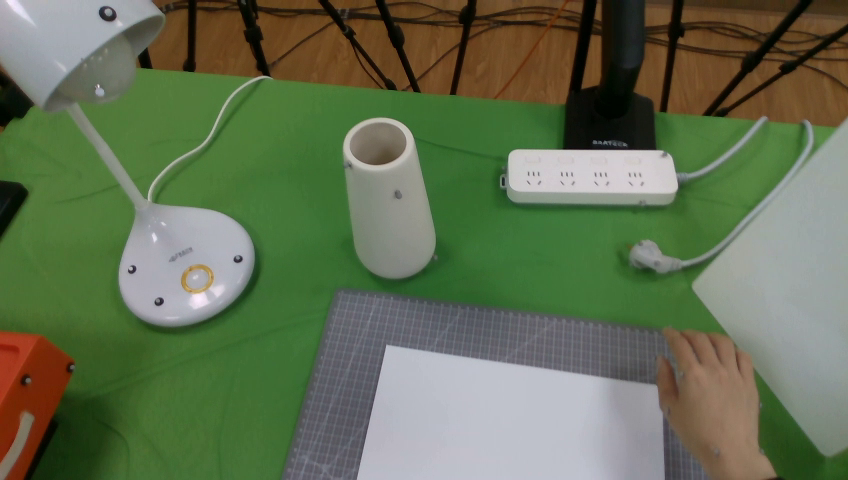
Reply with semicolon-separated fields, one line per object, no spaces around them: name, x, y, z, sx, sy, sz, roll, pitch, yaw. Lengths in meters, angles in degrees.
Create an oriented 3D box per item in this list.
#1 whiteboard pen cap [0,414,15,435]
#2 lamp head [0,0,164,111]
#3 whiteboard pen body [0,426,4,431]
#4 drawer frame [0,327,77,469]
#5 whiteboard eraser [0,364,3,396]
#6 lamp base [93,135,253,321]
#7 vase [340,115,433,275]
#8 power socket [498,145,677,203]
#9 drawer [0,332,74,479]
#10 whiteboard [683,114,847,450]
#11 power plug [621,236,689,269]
whiteboard pen cap;-0.416;0.182;0.584;0.033;0.018;0.018;-20;58;-14
lamp head;-0.268;-0.169;0.424;0.123;0.112;0.112;47;65;-14
whiteboard pen body;-0.469;0.202;0.567;0.141;0.017;0.017;-18;58;-13
drawer frame;-0.483;0.178;0.567;0.213;0.083;0.200;6;59;5
whiteboard eraser;-0.476;0.155;0.622;0.112;0.042;0.055;-24;65;23
lamp base;-0.302;-0.023;0.676;0.177;0.182;0.160;36;65;26
vase;-0.042;-0.044;0.666;0.098;0.202;0.097;-2;57;3
power socket;0.209;-0.085;0.779;0.226;0.033;0.071;2;58;4
drawer;-0.477;0.175;0.565;0.211;0.074;0.193;5;59;6
whiteboard;0.446;0.023;0.574;0.144;0.307;0.215;-10;55;-26
power plug;0.271;0.017;0.722;0.073;0.035;0.052;18;21;-32
